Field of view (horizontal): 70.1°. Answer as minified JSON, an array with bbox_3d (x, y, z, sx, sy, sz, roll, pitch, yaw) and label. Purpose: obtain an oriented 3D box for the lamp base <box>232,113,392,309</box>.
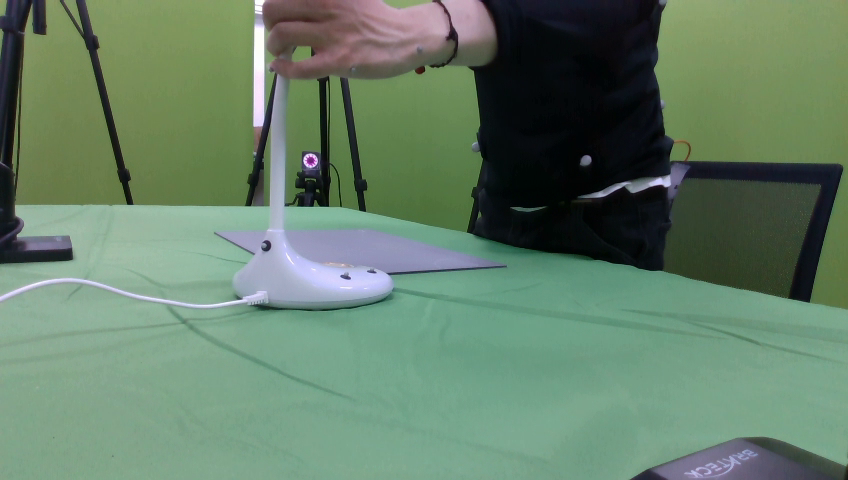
[{"bbox_3d":[-0.113,-0.031,0.594,0.160,0.180,0.179,4,10,18],"label":"lamp base"}]
